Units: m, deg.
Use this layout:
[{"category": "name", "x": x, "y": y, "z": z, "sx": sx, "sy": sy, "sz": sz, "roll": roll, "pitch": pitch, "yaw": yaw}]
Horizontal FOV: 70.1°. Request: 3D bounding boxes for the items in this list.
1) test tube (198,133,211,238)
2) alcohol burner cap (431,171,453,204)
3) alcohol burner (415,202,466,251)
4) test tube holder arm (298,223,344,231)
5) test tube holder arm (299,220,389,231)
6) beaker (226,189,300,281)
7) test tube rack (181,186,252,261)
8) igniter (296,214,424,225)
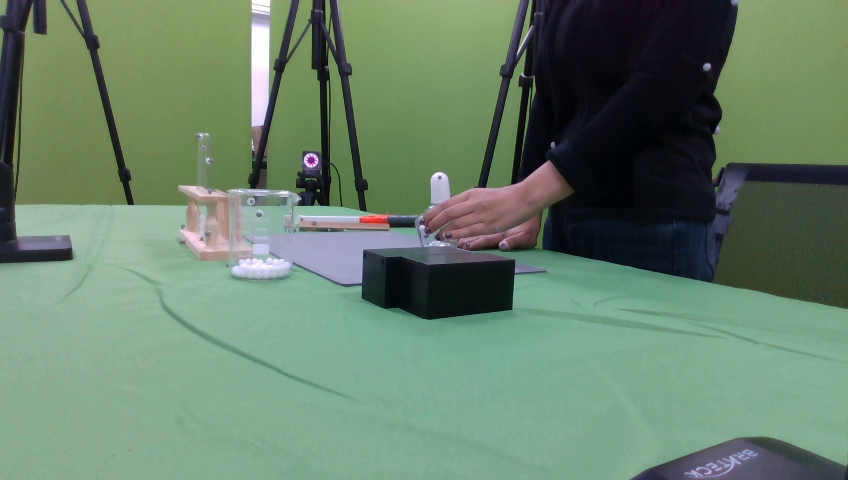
[{"category": "test tube", "x": -0.316, "y": -0.078, "z": 0.871, "sx": 0.017, "sy": 0.150, "sz": 0.017, "roll": 2, "pitch": 3, "yaw": 0}, {"category": "alcohol burner cap", "x": 0.026, "y": -0.080, "z": 0.908, "sx": 0.034, "sy": 0.048, "sz": 0.034, "roll": -4, "pitch": 14, "yaw": 1}, {"category": "alcohol burner", "x": 0.025, "y": -0.045, "z": 0.915, "sx": 0.078, "sy": 0.119, "sz": 0.078, "roll": -1, "pitch": 11, "yaw": 0}, {"category": "test tube holder arm", "x": -0.197, "y": -0.026, "z": 1.163, "sx": 0.088, "sy": 0.015, "sz": 0.010, "roll": 0, "pitch": -27, "yaw": -20}, {"category": "test tube holder arm", "x": -0.153, "y": -0.028, "z": 1.174, "sx": 0.179, "sy": 0.015, "sz": 0.013, "roll": 1, "pitch": -27, "yaw": -21}, {"category": "beaker", "x": -0.184, "y": -0.007, "z": 0.694, "sx": 0.084, "sy": 0.100, "sz": 0.073, "roll": -1, "pitch": 8, "yaw": -29}, {"category": "test tube rack", "x": -0.312, "y": -0.031, "z": 0.893, "sx": 0.067, "sy": 0.085, "sz": 0.241, "roll": -1, "pitch": 8, "yaw": -27}, {"category": "igniter", "x": -0.129, "y": -0.043, "z": 1.273, "sx": 0.278, "sy": 0.025, "sz": 0.057, "roll": -1, "pitch": -2, "yaw": -26}]
